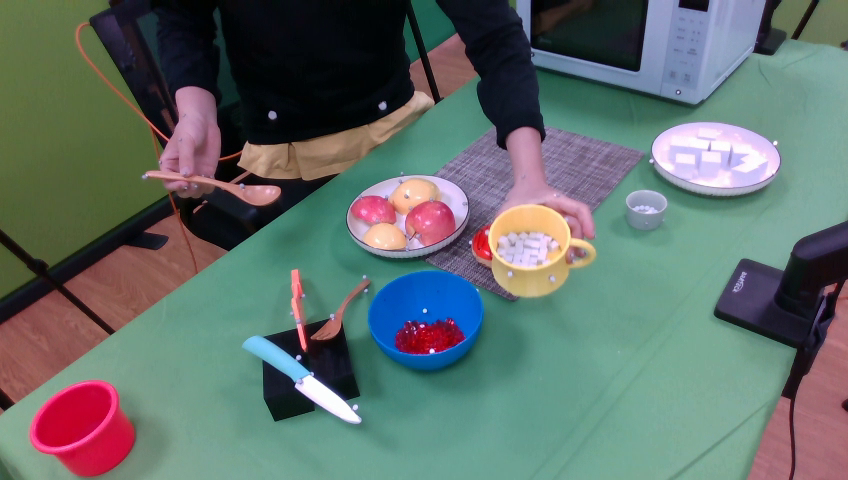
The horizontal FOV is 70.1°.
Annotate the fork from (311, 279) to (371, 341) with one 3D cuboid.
[{"bbox_3d":[-0.108,0.092,0.832,0.028,0.019,0.207,-8,19,15],"label":"fork"}]

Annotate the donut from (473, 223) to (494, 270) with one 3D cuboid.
[{"bbox_3d":[0.123,0.009,0.923,0.099,0.048,0.098,-4,38,4],"label":"donut"}]

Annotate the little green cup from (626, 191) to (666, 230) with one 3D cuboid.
[{"bbox_3d":[0.352,-0.046,0.963,0.061,0.039,0.061,-4,40,4],"label":"little green cup"}]

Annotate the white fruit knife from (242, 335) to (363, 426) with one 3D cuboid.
[{"bbox_3d":[-0.148,0.167,0.730,0.206,0.016,0.027,26,79,31],"label":"white fruit knife"}]

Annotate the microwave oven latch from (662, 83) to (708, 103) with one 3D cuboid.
[{"bbox_3d":[0.517,-0.296,1.204,0.078,0.029,0.030,28,52,35],"label":"microwave oven latch"}]

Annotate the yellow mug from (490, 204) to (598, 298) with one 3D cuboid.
[{"bbox_3d":[0.149,0.014,0.750,0.130,0.064,0.099,4,55,12],"label":"yellow mug"}]

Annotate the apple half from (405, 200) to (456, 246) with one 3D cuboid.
[{"bbox_3d":[0.010,-0.035,0.969,0.075,0.053,0.080,-27,39,-22],"label":"apple half"}]

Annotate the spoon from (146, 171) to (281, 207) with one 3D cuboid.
[{"bbox_3d":[-0.296,-0.078,0.848,0.194,0.022,0.041,13,52,1],"label":"spoon"}]

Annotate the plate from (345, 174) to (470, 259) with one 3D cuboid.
[{"bbox_3d":[-0.026,-0.037,1.004,0.209,0.038,0.208,-4,40,4],"label":"plate"}]

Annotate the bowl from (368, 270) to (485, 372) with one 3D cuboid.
[{"bbox_3d":[0.007,0.119,0.791,0.151,0.077,0.150,-5,39,4],"label":"bowl"}]

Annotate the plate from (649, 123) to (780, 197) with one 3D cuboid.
[{"bbox_3d":[0.497,-0.134,1.046,0.207,0.039,0.206,-4,40,4],"label":"plate"}]

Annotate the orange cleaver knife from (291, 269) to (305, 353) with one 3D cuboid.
[{"bbox_3d":[-0.175,0.093,0.844,0.012,0.077,0.210,-11,15,-10],"label":"orange cleaver knife"}]

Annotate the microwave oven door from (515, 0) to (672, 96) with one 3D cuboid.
[{"bbox_3d":[0.343,-0.455,1.259,0.353,0.245,0.039,26,51,33],"label":"microwave oven door"}]

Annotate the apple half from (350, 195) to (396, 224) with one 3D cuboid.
[{"bbox_3d":[-0.081,-0.056,1.008,0.081,0.033,0.081,11,24,-4],"label":"apple half"}]

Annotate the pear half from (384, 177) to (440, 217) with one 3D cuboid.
[{"bbox_3d":[-0.030,-0.079,1.033,0.109,0.056,0.076,0,36,15],"label":"pear half"}]

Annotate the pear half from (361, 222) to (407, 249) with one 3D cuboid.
[{"bbox_3d":[-0.063,-0.012,0.958,0.071,0.031,0.087,2,24,-25],"label":"pear half"}]

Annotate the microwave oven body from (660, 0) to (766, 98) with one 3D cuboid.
[{"bbox_3d":[0.472,-0.513,1.317,0.438,0.261,0.327,26,51,34],"label":"microwave oven body"}]
